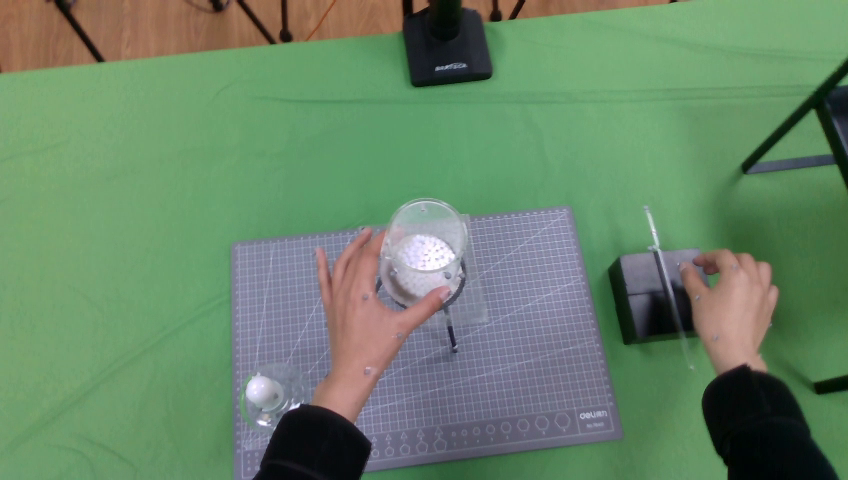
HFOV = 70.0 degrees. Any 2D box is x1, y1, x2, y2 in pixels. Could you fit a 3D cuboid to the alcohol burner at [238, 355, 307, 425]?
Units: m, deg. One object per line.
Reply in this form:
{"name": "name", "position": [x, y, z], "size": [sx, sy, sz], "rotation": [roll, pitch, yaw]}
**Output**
{"name": "alcohol burner", "position": [-0.169, 0.163, 0.665], "size": [0.078, 0.119, 0.077], "rotation": [1, 72, -2]}

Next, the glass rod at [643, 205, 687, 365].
{"name": "glass rod", "position": [0.287, 0.050, 0.724], "size": [0.008, 0.008, 0.198], "rotation": [-6, 71, -3]}

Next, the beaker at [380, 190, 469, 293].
{"name": "beaker", "position": [-0.001, 0.008, 0.593], "size": [0.084, 0.101, 0.073], "rotation": [-21, 71, -9]}

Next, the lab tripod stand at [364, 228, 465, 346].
{"name": "lab tripod stand", "position": [-0.002, 0.047, 0.700], "size": [0.148, 0.132, 0.147], "rotation": [0, 69, 0]}

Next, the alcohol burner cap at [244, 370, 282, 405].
{"name": "alcohol burner cap", "position": [-0.170, 0.152, 0.631], "size": [0.034, 0.048, 0.033], "rotation": [-1, 66, 2]}

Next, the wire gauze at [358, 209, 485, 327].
{"name": "wire gauze", "position": [-0.004, 0.029, 0.636], "size": [0.125, 0.011, 0.120], "rotation": [-5, 71, -6]}
